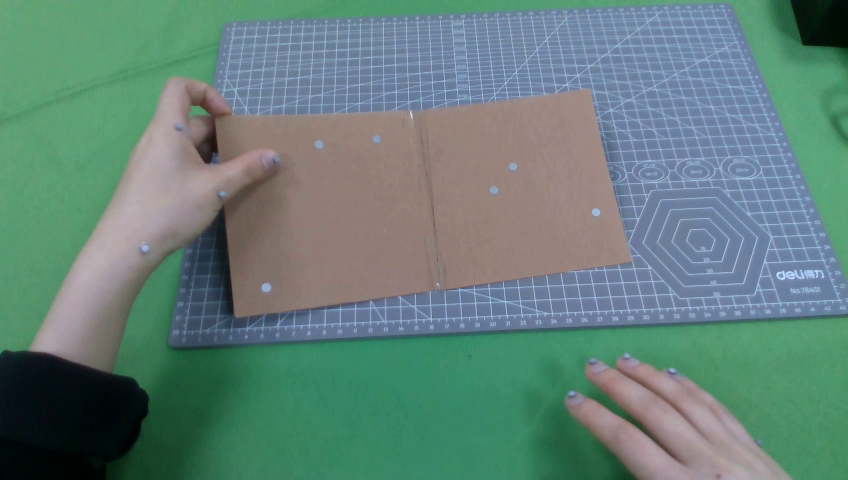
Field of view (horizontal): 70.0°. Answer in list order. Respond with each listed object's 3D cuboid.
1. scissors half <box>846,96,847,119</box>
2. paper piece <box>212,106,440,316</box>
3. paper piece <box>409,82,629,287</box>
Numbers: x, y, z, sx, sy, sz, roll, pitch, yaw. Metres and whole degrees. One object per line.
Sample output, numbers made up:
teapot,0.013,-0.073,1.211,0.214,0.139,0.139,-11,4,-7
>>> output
scissors half,0.363,-0.154,0.467,0.040,0.013,0.175,19,84,8
paper piece,-0.066,-0.024,0.410,0.138,0.008,0.135,-6,79,-11
paper piece,0.065,-0.042,0.424,0.136,0.004,0.134,-8,77,-4
